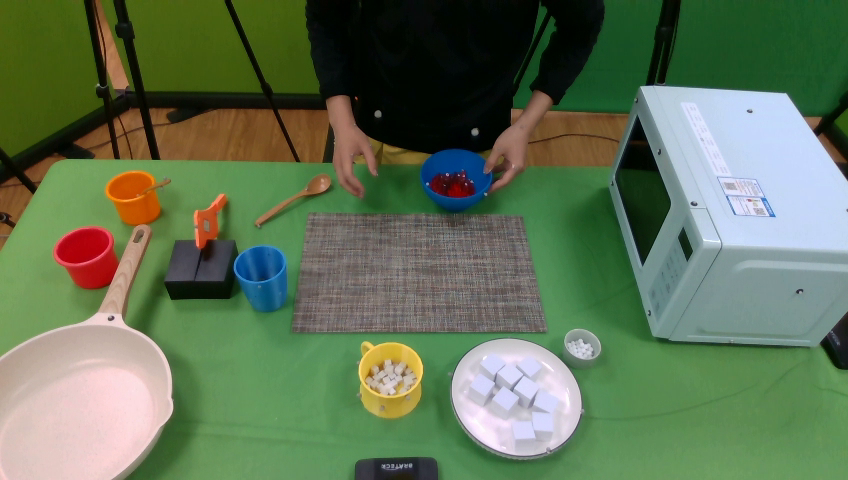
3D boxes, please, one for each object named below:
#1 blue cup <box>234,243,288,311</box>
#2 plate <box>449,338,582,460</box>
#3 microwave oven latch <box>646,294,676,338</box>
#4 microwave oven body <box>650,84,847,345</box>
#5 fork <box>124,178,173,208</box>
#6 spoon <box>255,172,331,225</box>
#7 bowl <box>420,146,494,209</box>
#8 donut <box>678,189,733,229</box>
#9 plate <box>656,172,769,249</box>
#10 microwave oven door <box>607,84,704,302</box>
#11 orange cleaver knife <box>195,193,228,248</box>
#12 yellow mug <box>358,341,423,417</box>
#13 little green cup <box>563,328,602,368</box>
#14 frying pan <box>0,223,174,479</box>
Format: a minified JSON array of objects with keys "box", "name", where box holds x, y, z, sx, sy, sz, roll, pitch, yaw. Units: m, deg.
[{"box":[-0.276,0.072,1.052,0.093,0.101,0.092,1,48,-1],"name":"blue cup"},{"box":[0.141,0.251,0.955,0.208,0.039,0.206,2,46,-2],"name":"plate"},{"box":[0.412,0.133,1.060,0.030,0.029,0.078,3,46,0],"name":"microwave oven latch"},{"box":[0.569,-0.054,1.116,0.326,0.261,0.439,2,46,-1],"name":"microwave oven body"},{"box":[-0.525,-0.090,1.153,0.207,0.019,0.028,-18,27,45],"name":"fork"},{"box":[-0.272,-0.087,1.257,0.041,0.022,0.193,42,57,18],"name":"spoon"},{"box":[0.069,-0.118,1.269,0.151,0.077,0.150,0,50,0],"name":"bowl"},{"box":[0.544,-0.062,1.174,0.099,0.048,0.098,1,42,0],"name":"donut"},{"box":[0.557,-0.054,1.186,0.209,0.038,0.208,1,44,-1],"name":"plate"},{"box":[0.424,-0.096,1.138,0.039,0.245,0.353,3,46,-1],"name":"microwave oven door"},{"box":[-0.406,-0.041,1.163,0.012,0.077,0.210,0,18,-3],"name":"orange cleaver knife"},{"box":[-0.062,0.210,0.961,0.100,0.064,0.130,-29,54,-27],"name":"yellow mug"},{"box":[0.265,0.184,1.025,0.061,0.039,0.061,1,46,-1],"name":"little green cup"},{"box":[-0.504,0.169,0.941,0.307,0.103,0.485,5,54,-1],"name":"frying pan"}]
